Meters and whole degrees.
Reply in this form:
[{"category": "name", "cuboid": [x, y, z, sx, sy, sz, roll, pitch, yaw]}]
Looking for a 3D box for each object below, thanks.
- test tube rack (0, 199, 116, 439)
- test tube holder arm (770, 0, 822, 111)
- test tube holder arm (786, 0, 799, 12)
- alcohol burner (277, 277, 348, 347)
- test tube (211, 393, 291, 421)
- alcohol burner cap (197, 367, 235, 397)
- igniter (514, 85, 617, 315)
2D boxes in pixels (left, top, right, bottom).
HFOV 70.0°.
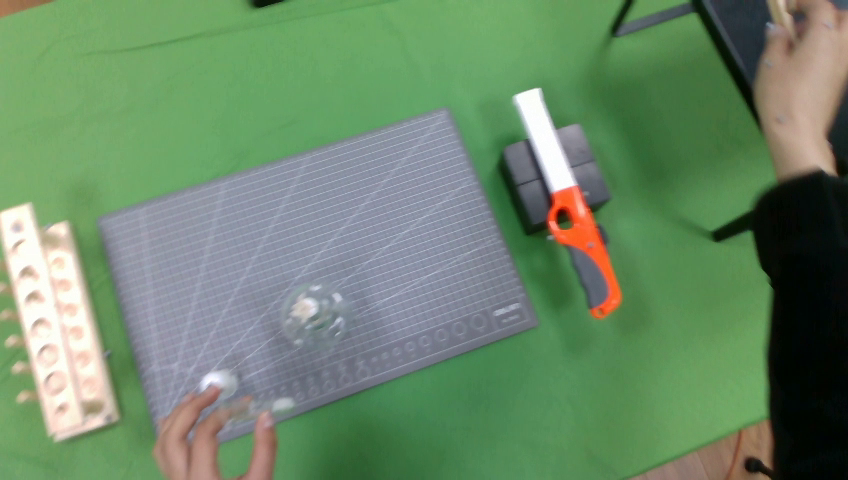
[{"category": "test tube rack", "cuboid": [-0.410, 0.087, 0.650, 0.067, 0.085, 0.241, -19, 79, -7]}, {"category": "test tube holder arm", "cuboid": [0.321, -0.201, 0.538, 0.013, 0.015, 0.178, -14, 88, -2]}, {"category": "test tube holder arm", "cuboid": [0.315, -0.246, 0.539, 0.010, 0.015, 0.087, -13, 88, -2]}, {"category": "alcohol burner", "cuboid": [-0.122, 0.075, 0.650, 0.078, 0.119, 0.077, 1, 78, -2]}, {"category": "test tube", "cuboid": [-0.145, 0.144, 0.528, 0.017, 0.151, 0.017, -1, 78, 6]}, {"category": "alcohol burner cap", "cuboid": [-0.230, 0.154, 0.663, 0.034, 0.048, 0.033, 1, 76, -3]}, {"category": "igniter", "cuboid": [0.161, -0.050, 0.693, 0.057, 0.025, 0.275, -17, 78, 0]}]
